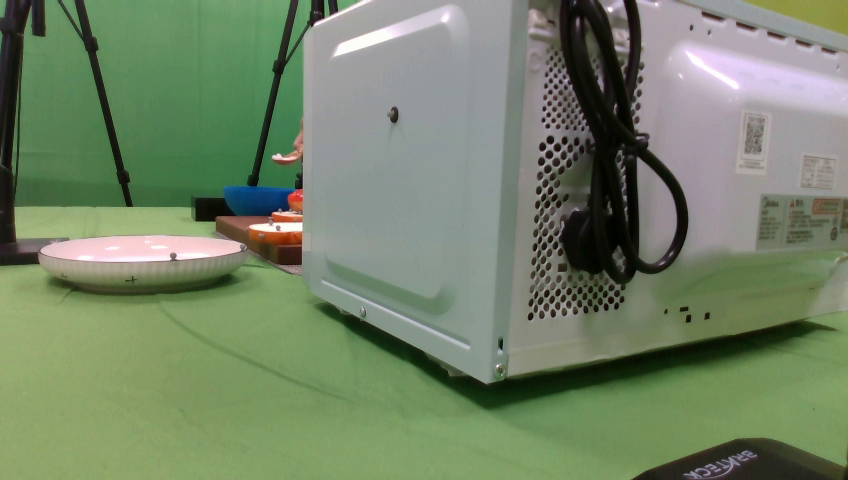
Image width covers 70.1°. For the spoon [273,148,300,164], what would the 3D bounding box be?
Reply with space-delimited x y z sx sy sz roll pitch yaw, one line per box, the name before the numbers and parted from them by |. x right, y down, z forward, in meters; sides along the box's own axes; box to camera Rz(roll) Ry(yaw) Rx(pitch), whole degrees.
spoon | -0.211 -0.184 1.148 0.041 0.021 0.194 9 37 34

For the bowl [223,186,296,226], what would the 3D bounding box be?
bowl | -0.330 -0.068 1.230 0.151 0.077 0.151 3 7 0

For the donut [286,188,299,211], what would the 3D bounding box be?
donut | -0.190 -0.068 1.055 0.099 0.048 0.099 3 8 0

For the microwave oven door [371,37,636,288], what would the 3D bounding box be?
microwave oven door | 0.109 -0.080 0.686 0.358 0.243 0.039 -2 9 -33

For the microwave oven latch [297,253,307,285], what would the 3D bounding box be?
microwave oven latch | -0.082 0.027 0.582 0.079 0.029 0.030 -1 7 -32

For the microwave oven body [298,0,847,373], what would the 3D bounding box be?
microwave oven body | 0.151 -0.055 0.543 0.444 0.260 0.324 -2 7 -33

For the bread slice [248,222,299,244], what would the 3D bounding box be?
bread slice | -0.174 -0.012 0.844 0.135 0.018 0.106 -6 10 -44

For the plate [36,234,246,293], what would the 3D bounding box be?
plate | -0.305 0.026 0.668 0.208 0.039 0.207 2 7 0

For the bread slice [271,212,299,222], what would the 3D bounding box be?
bread slice | -0.197 -0.038 1.051 0.132 0.019 0.104 0 6 -31
